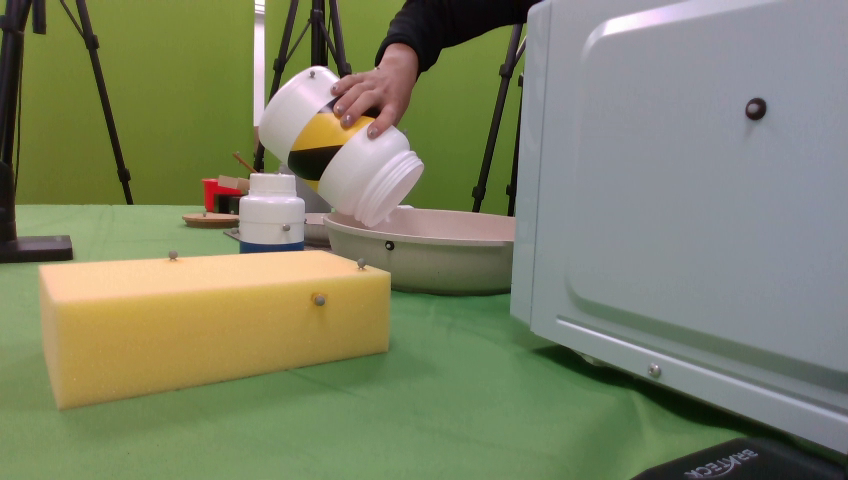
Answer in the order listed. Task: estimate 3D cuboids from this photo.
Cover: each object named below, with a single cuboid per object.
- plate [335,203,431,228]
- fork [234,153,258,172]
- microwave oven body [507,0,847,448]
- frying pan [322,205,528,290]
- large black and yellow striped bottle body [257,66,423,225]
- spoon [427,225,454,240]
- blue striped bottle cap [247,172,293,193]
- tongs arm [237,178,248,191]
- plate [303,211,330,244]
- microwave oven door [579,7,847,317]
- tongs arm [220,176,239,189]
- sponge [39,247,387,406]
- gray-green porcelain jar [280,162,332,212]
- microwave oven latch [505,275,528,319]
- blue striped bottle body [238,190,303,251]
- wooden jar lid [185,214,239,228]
[{"bbox_3d":[-0.089,-0.053,1.309,0.208,0.039,0.207,2,8,0],"label":"plate"},{"bbox_3d":[-0.396,-0.143,1.487,0.028,0.018,0.208,19,-26,45],"label":"fork"},{"bbox_3d":[0.331,-0.042,0.425,0.444,0.260,0.324,-2,8,-31],"label":"microwave oven body"},{"bbox_3d":[0.109,-0.017,0.800,0.490,0.102,0.305,-12,16,-30],"label":"frying pan"},{"bbox_3d":[-0.104,-0.118,0.776,0.184,0.130,0.131,41,14,5],"label":"large black and yellow striped bottle body"},{"bbox_3d":[0.024,-0.019,1.124,0.042,0.021,0.193,-15,9,-5],"label":"spoon"},{"bbox_3d":[-0.152,-0.057,0.598,0.044,0.020,0.044,3,7,0],"label":"blue striped bottle cap"},{"bbox_3d":[-0.241,-0.095,1.374,0.387,0.026,0.050,9,0,-37],"label":"tongs arm"},{"bbox_3d":[-0.139,-0.022,1.021,0.209,0.038,0.209,2,8,0],"label":"plate"},{"bbox_3d":[0.294,-0.067,0.570,0.358,0.243,0.039,-3,9,-31],"label":"microwave oven door"},{"bbox_3d":[-0.285,-0.105,1.445,0.389,0.027,0.028,9,-3,-23],"label":"tongs arm"},{"bbox_3d":[-0.142,0.047,0.420,0.208,0.061,0.117,-3,9,-37],"label":"sponge"},{"bbox_3d":[-0.238,-0.092,1.221,0.106,0.126,0.106,2,7,0],"label":"gray-green porcelain jar"},{"bbox_3d":[0.100,0.042,0.471,0.079,0.029,0.030,-1,7,-29],"label":"microwave oven latch"},{"bbox_3d":[-0.153,-0.007,0.605,0.063,0.120,0.063,2,7,0],"label":"blue striped bottle body"},{"bbox_3d":[-0.404,-0.037,1.169,0.108,0.020,0.108,3,7,0],"label":"wooden jar lid"}]
